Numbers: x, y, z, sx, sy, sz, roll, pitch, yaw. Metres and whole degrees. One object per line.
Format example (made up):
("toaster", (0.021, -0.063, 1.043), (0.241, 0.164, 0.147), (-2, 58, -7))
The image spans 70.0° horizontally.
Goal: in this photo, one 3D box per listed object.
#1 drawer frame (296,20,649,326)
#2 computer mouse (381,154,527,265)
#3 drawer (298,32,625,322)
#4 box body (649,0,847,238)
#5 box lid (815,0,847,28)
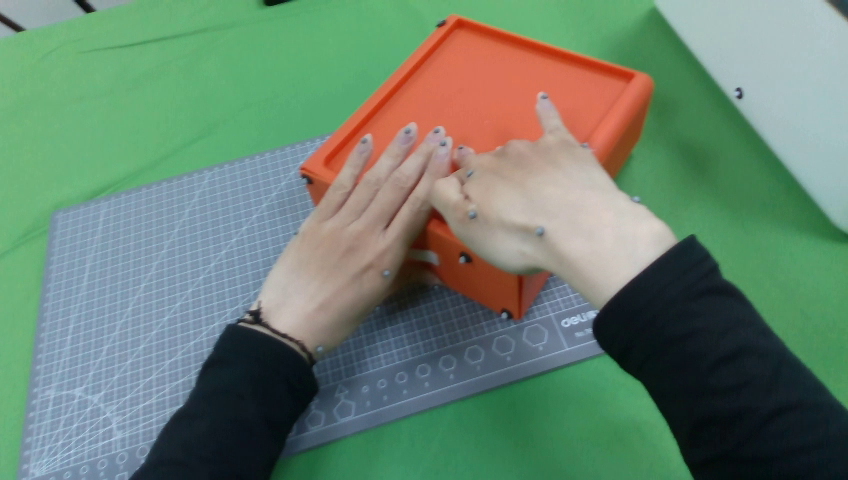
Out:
("drawer frame", (0.042, -0.068, 0.499), (0.200, 0.083, 0.213), (26, 61, 24))
("computer mouse", (0.024, -0.029, 0.493), (0.116, 0.041, 0.062), (29, 60, 18))
("drawer", (0.041, -0.065, 0.498), (0.193, 0.074, 0.211), (26, 62, 24))
("box body", (0.377, -0.196, 0.494), (0.254, 0.162, 0.360), (-16, 54, -3))
("box lid", (0.368, -0.238, 0.432), (0.263, 0.015, 0.367), (-15, 55, -3))
